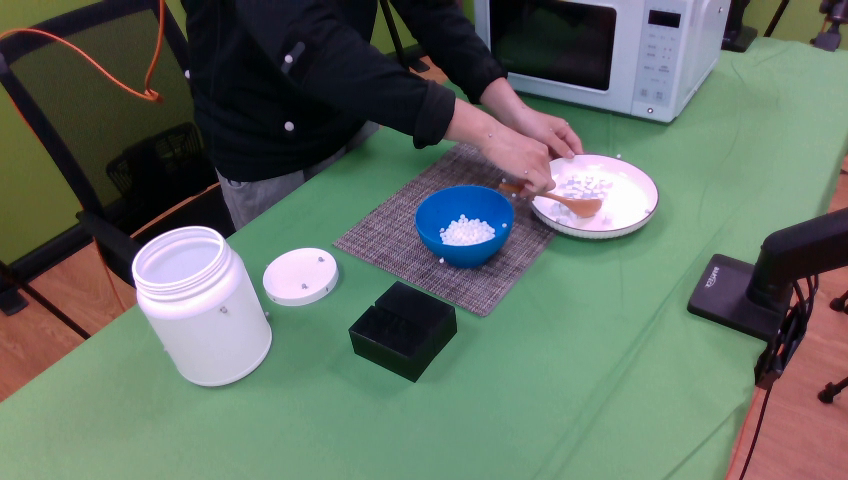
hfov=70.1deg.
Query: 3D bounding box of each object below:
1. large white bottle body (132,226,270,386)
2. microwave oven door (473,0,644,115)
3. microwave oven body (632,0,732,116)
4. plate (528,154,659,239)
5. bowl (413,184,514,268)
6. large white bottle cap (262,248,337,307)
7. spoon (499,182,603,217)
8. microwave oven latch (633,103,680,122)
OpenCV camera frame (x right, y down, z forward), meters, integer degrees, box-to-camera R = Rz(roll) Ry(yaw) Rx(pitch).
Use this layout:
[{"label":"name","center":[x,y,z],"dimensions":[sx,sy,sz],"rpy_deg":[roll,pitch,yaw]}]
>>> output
[{"label":"large white bottle body","center":[-0.286,0.085,0.784],"dimensions":[0.130,0.185,0.130],"rpy_deg":[-4,41,4]},{"label":"microwave oven door","center":[0.257,-0.396,1.199],"dimensions":[0.353,0.245,0.039],"rpy_deg":[21,48,29]},{"label":"microwave oven body","center":[0.377,-0.462,1.267],"dimensions":[0.438,0.261,0.327],"rpy_deg":[21,49,30]},{"label":"plate","center":[0.274,-0.069,0.993],"dimensions":[0.209,0.038,0.208],"rpy_deg":[-2,42,2]},{"label":"bowl","center":[0.063,-0.010,0.922],"dimensions":[0.151,0.077,0.150],"rpy_deg":[-4,40,4]},{"label":"large white bottle cap","center":[-0.192,0.056,0.933],"dimensions":[0.115,0.018,0.114],"rpy_deg":[-4,41,4]},{"label":"spoon","center":[0.197,-0.065,0.930],"dimensions":[0.195,0.041,0.021],"rpy_deg":[12,47,-22]},{"label":"microwave oven latch","center":[0.444,-0.249,1.157],"dimensions":[0.078,0.029,0.030],"rpy_deg":[21,49,30]}]
